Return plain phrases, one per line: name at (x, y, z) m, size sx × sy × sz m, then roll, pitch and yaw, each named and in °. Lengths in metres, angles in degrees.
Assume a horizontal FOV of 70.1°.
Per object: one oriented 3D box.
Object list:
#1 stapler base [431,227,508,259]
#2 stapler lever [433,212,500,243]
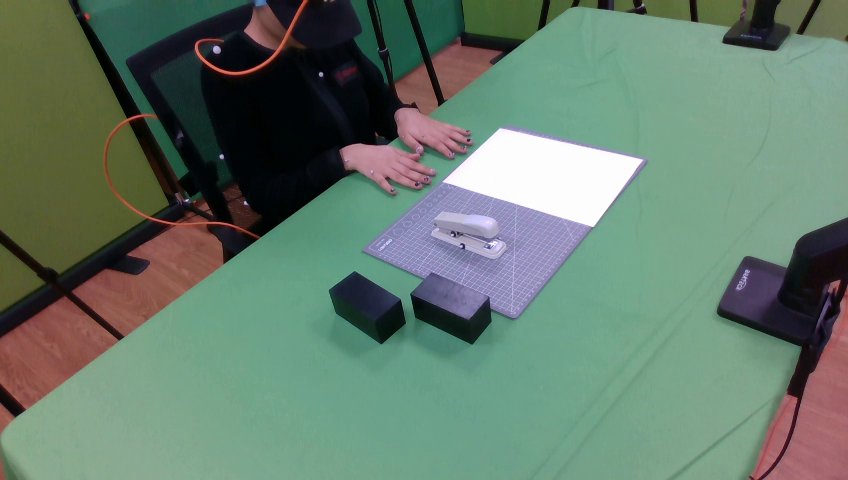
stapler base at (0.072, -0.007, 0.972) m, size 0.129 × 0.024 × 0.041 m, roll 20°, pitch 45°, yaw 33°
stapler lever at (0.067, -0.026, 0.957) m, size 0.117 × 0.040 × 0.027 m, roll 20°, pitch 46°, yaw 33°
